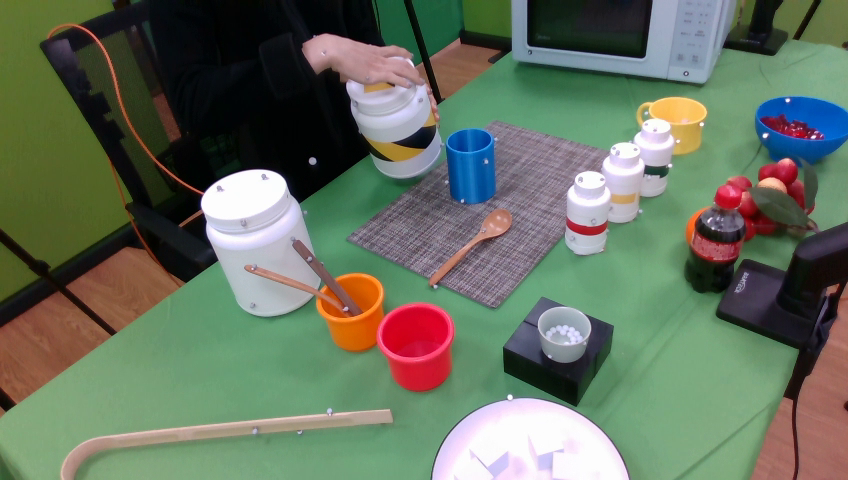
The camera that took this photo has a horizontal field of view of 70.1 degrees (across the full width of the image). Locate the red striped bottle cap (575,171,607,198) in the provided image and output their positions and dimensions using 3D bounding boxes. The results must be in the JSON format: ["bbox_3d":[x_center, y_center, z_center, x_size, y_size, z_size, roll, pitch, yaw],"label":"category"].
[{"bbox_3d":[0.242,-0.081,0.876,0.044,0.018,0.044,-5,44,5],"label":"red striped bottle cap"}]

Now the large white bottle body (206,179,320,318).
[{"bbox_3d":[-0.233,0.008,0.876,0.130,0.185,0.130,-4,40,4],"label":"large white bottle body"}]

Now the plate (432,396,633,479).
[{"bbox_3d":[0.112,0.261,0.634,0.209,0.038,0.208,-5,40,4],"label":"plate"}]

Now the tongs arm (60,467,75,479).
[{"bbox_3d":[-0.239,0.301,0.648,0.386,0.028,0.028,6,49,16],"label":"tongs arm"}]

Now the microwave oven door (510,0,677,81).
[{"bbox_3d":[0.354,-0.478,1.290,0.353,0.245,0.039,15,45,25],"label":"microwave oven door"}]

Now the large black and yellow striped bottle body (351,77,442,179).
[{"bbox_3d":[-0.048,-0.206,1.036,0.130,0.185,0.130,-6,57,10],"label":"large black and yellow striped bottle body"}]

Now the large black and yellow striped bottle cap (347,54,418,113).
[{"bbox_3d":[-0.066,-0.252,0.967,0.115,0.019,0.114,-7,57,12],"label":"large black and yellow striped bottle cap"}]

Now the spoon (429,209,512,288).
[{"bbox_3d":[0.072,0.012,0.945,0.041,0.021,0.194,41,57,17],"label":"spoon"}]

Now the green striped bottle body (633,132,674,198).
[{"bbox_3d":[0.376,-0.135,1.001,0.063,0.120,0.063,-5,40,5],"label":"green striped bottle body"}]

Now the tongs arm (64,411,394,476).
[{"bbox_3d":[-0.228,0.241,0.715,0.385,0.026,0.050,-5,43,4],"label":"tongs arm"}]

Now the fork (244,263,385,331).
[{"bbox_3d":[-0.142,0.077,0.807,0.209,0.018,0.028,30,43,-24],"label":"fork"}]

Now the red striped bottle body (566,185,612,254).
[{"bbox_3d":[0.248,-0.041,0.910,0.063,0.120,0.062,-4,41,4],"label":"red striped bottle body"}]

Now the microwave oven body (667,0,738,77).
[{"bbox_3d":[0.462,-0.552,1.369,0.439,0.261,0.326,15,45,26],"label":"microwave oven body"}]

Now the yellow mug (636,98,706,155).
[{"bbox_3d":[0.453,-0.217,1.128,0.100,0.064,0.129,-34,46,-27],"label":"yellow mug"}]

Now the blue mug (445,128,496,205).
[{"bbox_3d":[0.082,-0.137,1.056,0.082,0.106,0.116,-4,40,4],"label":"blue mug"}]

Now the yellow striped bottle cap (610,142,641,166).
[{"bbox_3d":[0.308,-0.131,0.925,0.044,0.019,0.044,-4,45,5],"label":"yellow striped bottle cap"}]

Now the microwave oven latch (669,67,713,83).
[{"bbox_3d":[0.556,-0.349,1.261,0.078,0.029,0.030,16,46,27],"label":"microwave oven latch"}]

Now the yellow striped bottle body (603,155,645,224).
[{"bbox_3d":[0.314,-0.090,0.957,0.063,0.121,0.062,-4,40,4],"label":"yellow striped bottle body"}]

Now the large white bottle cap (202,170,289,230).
[{"bbox_3d":[-0.242,-0.057,0.822,0.115,0.018,0.114,-4,40,4],"label":"large white bottle cap"}]

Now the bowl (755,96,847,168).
[{"bbox_3d":[0.645,-0.177,1.041,0.151,0.077,0.150,-5,40,4],"label":"bowl"}]

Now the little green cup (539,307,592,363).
[{"bbox_3d":[0.168,0.115,0.721,0.061,0.039,0.061,-4,42,4],"label":"little green cup"}]

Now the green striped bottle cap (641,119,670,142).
[{"bbox_3d":[0.371,-0.175,0.968,0.044,0.020,0.044,-5,42,5],"label":"green striped bottle cap"}]

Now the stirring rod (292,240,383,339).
[{"bbox_3d":[-0.118,0.068,0.826,0.176,0.006,0.014,49,59,-4],"label":"stirring rod"}]
